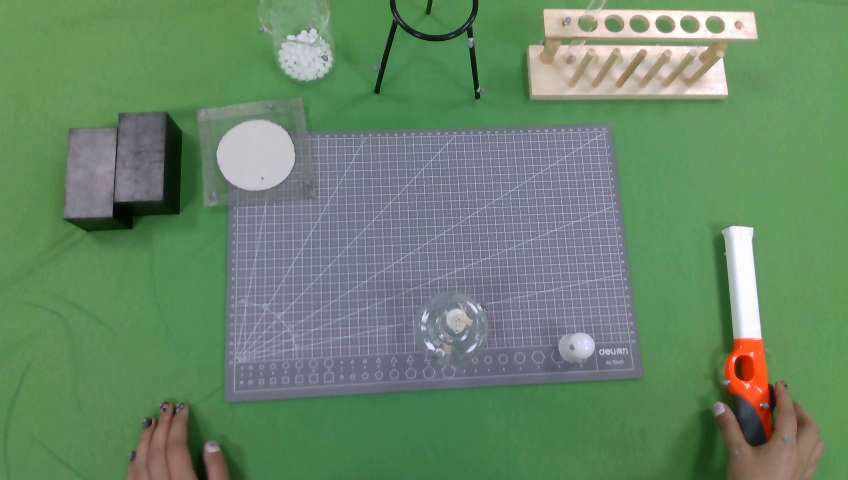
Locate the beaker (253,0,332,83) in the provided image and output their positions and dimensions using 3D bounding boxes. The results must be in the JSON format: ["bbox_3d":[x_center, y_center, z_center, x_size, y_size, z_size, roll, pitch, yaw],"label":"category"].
[{"bbox_3d":[-0.140,-0.227,0.680,0.074,0.100,0.083,-33,82,-10],"label":"beaker"}]

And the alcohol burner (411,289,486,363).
[{"bbox_3d":[0.027,0.084,0.611,0.078,0.119,0.077,1,75,-4],"label":"alcohol burner"}]

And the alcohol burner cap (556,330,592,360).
[{"bbox_3d":[0.164,0.112,0.651,0.034,0.048,0.033,1,76,-2],"label":"alcohol burner cap"}]

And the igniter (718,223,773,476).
[{"bbox_3d":[0.355,0.117,0.673,0.057,0.025,0.275,4,77,-13],"label":"igniter"}]

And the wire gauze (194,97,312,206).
[{"bbox_3d":[-0.196,-0.102,0.691,0.125,0.011,0.121,-8,77,-5],"label":"wire gauze"}]

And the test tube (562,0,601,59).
[{"bbox_3d":[0.177,-0.246,0.662,0.017,0.151,0.017,1,73,-3],"label":"test tube"}]

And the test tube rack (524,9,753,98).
[{"bbox_3d":[0.247,-0.217,0.711,0.242,0.085,0.066,-1,77,-4],"label":"test tube rack"}]

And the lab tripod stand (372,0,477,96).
[{"bbox_3d":[0.002,-0.230,0.673,0.148,0.132,0.147,0,76,-2],"label":"lab tripod stand"}]
